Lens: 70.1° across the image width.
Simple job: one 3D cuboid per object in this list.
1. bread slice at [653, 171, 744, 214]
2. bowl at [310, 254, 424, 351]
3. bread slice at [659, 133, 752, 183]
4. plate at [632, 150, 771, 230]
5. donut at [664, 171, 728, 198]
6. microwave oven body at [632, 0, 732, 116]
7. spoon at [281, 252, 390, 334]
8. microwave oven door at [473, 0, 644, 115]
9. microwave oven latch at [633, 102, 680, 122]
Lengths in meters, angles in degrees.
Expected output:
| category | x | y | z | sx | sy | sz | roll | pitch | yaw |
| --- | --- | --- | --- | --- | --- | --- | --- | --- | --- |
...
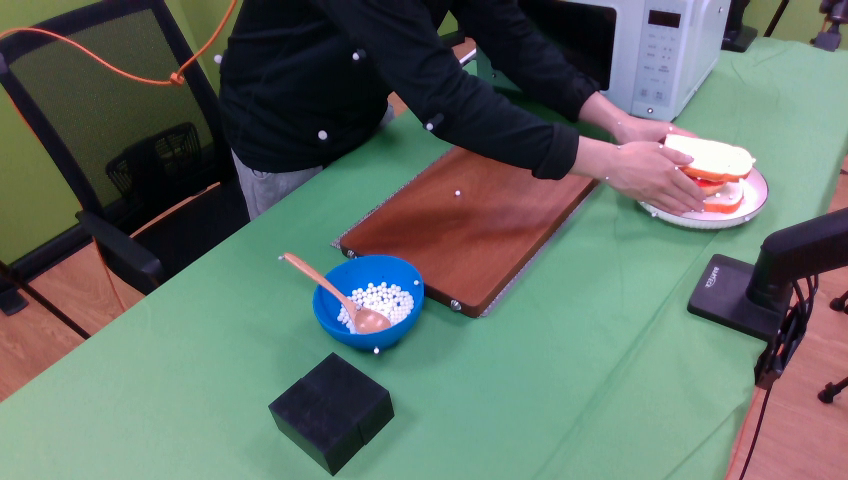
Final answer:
| category | x | y | z | sx | sy | sz | roll | pitch | yaw |
| --- | --- | --- | --- | --- | --- | --- | --- | --- | --- |
| bread slice | 0.452 | -0.084 | 0.992 | 0.131 | 0.019 | 0.105 | 11 | 44 | 21 |
| bowl | -0.072 | 0.097 | 0.821 | 0.151 | 0.077 | 0.150 | -4 | 40 | 4 |
| bread slice | 0.443 | -0.128 | 0.952 | 0.134 | 0.018 | 0.107 | 13 | 41 | 16 |
| plate | 0.447 | -0.081 | 0.988 | 0.207 | 0.039 | 0.206 | -4 | 40 | 4 |
| donut | 0.439 | -0.105 | 0.974 | 0.099 | 0.048 | 0.098 | -10 | 40 | 9 |
| microwave oven body | 0.377 | -0.462 | 1.267 | 0.438 | 0.261 | 0.327 | 21 | 48 | 30 |
| spoon | -0.122 | 0.070 | 0.812 | 0.193 | 0.022 | 0.042 | 38 | 61 | 16 |
| microwave oven door | 0.257 | -0.396 | 1.199 | 0.353 | 0.245 | 0.039 | 21 | 48 | 29 |
| microwave oven latch | 0.444 | -0.249 | 1.157 | 0.078 | 0.029 | 0.030 | 22 | 49 | 30 |
